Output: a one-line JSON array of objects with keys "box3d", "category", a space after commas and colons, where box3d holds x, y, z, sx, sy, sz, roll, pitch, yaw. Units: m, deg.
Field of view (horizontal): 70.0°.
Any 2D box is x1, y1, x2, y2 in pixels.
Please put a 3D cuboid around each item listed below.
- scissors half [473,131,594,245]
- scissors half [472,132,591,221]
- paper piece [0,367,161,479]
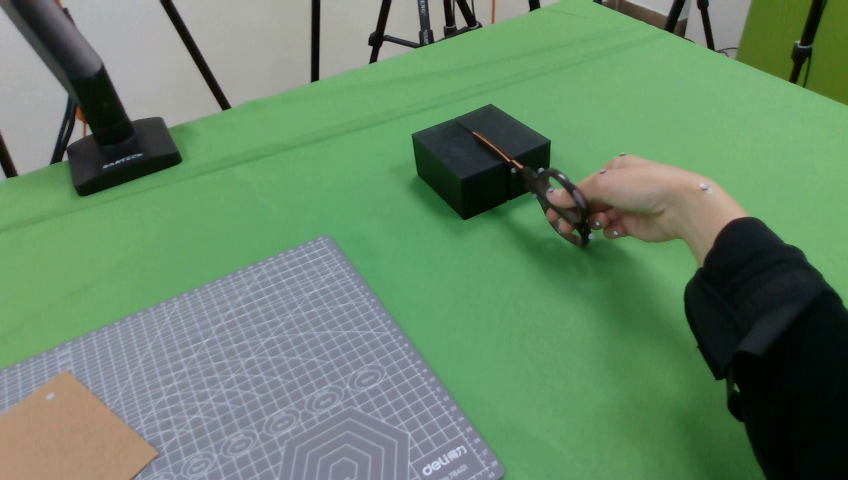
[{"box3d": [0.095, -0.054, 0.566, 0.013, 0.040, 0.173, -31, 56, -13], "category": "scissors half"}, {"box3d": [0.090, -0.067, 0.552, 0.013, 0.040, 0.173, -35, 40, -9], "category": "scissors half"}, {"box3d": [-0.279, 0.162, 0.420, 0.135, 0.009, 0.138, 27, 49, 28], "category": "paper piece"}]
